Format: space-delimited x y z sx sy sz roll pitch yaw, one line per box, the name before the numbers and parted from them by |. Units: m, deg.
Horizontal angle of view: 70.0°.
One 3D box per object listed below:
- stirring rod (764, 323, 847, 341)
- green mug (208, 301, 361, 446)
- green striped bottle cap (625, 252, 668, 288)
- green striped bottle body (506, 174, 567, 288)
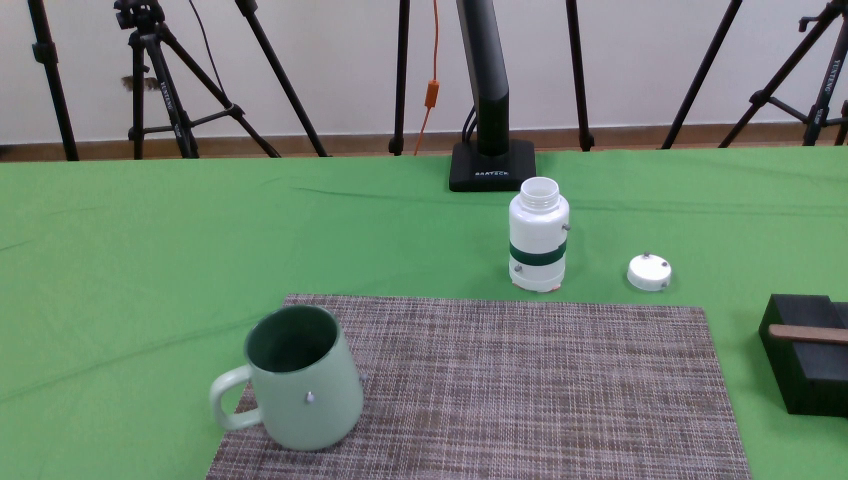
stirring rod | 0.386 0.082 0.517 0.176 0.006 0.014 2 41 10
green mug | -0.121 0.123 0.525 0.125 0.106 0.091 -20 42 -17
green striped bottle cap | 0.245 0.033 0.666 0.044 0.020 0.044 -3 35 3
green striped bottle body | 0.120 -0.011 0.653 0.063 0.120 0.062 -3 39 3
